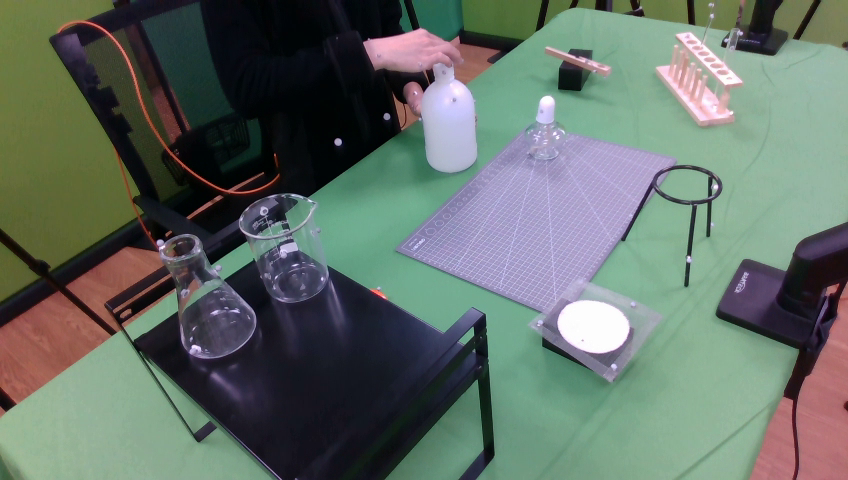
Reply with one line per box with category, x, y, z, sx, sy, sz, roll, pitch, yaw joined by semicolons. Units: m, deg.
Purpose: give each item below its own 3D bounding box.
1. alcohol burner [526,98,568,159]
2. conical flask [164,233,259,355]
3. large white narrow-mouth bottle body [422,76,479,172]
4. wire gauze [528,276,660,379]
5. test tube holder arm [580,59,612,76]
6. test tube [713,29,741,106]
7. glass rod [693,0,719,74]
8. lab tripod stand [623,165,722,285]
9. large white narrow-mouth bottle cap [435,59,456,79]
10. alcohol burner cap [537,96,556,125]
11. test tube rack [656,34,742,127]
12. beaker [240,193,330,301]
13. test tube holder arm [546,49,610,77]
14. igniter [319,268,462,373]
alcohol burner;0.228;-0.210;1.118;0.078;0.119;0.077;-5;43;5
conical flask;-0.216;0.051;0.601;0.075;0.122;0.075;-4;40;4
large white narrow-mouth bottle body;0.047;-0.229;1.111;0.102;0.195;0.101;-4;41;4
wire gauze;0.213;0.103;0.763;0.124;0.011;0.122;30;52;35
test tube holder arm;0.363;-0.369;1.289;0.010;0.015;0.087;-28;43;-29
test tube;0.572;-0.324;1.146;0.017;0.151;0.017;-3;39;3
glass rod;0.560;-0.401;1.214;0.008;0.200;0.008;-1;48;2
lab tripod stand;0.365;-0.030;0.874;0.148;0.132;0.147;-6;41;6
large white narrow-mouth bottle cap;0.038;-0.297;1.051;0.038;0.024;0.037;-4;40;4
alcohol burner cap;0.223;-0.237;1.095;0.034;0.048;0.033;-1;42;1
test tube rack;0.553;-0.330;1.233;0.067;0.085;0.241;-7;40;2
beaker;-0.144;0.009;0.656;0.084;0.101;0.073;-25;43;-19
test tube holder arm;0.331;-0.387;1.315;0.013;0.015;0.177;-26;43;-28
igniter;-0.059;0.107;0.862;0.274;0.025;0.057;28;62;34
